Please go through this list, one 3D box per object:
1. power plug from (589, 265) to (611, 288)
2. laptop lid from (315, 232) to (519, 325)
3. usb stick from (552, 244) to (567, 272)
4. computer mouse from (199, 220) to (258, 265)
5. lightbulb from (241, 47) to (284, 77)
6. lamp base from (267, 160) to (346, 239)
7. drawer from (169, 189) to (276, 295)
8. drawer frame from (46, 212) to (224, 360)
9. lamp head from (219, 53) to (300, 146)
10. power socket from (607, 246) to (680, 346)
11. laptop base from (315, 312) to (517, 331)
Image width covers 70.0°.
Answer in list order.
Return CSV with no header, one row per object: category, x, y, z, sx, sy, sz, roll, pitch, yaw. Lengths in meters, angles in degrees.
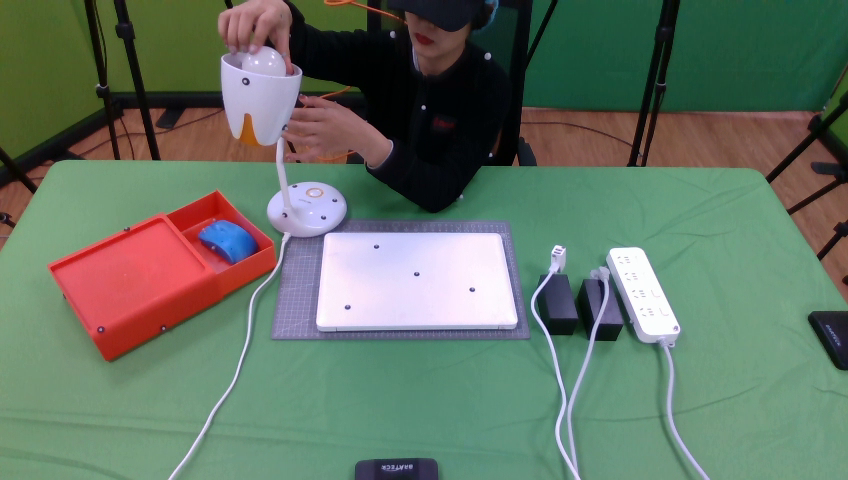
power plug,0.318,0.073,1.108,0.035,0.053,0.072,26,34,13
laptop lid,-0.015,0.065,1.118,0.357,0.013,0.240,1,43,-3
usb stick,0.251,0.039,1.123,0.021,0.059,0.027,14,47,24
computer mouse,-0.374,-0.001,1.153,0.116,0.041,0.063,30,52,28
lightbulb,-0.234,-0.222,0.871,0.059,0.108,0.059,12,29,-7
lamp base,-0.241,-0.110,1.175,0.160,0.181,0.178,11,49,9
drawer,-0.413,0.022,1.108,0.212,0.073,0.193,-33,57,-30
drawer frame,-0.495,0.071,1.050,0.213,0.083,0.200,-32,56,-29
lamp head,-0.244,-0.203,0.889,0.112,0.123,0.112,10,33,-7
power socket,0.403,0.096,1.123,0.072,0.033,0.225,-3,46,-5
laptop base,-0.016,0.075,1.125,0.355,0.023,0.234,0,42,-4
